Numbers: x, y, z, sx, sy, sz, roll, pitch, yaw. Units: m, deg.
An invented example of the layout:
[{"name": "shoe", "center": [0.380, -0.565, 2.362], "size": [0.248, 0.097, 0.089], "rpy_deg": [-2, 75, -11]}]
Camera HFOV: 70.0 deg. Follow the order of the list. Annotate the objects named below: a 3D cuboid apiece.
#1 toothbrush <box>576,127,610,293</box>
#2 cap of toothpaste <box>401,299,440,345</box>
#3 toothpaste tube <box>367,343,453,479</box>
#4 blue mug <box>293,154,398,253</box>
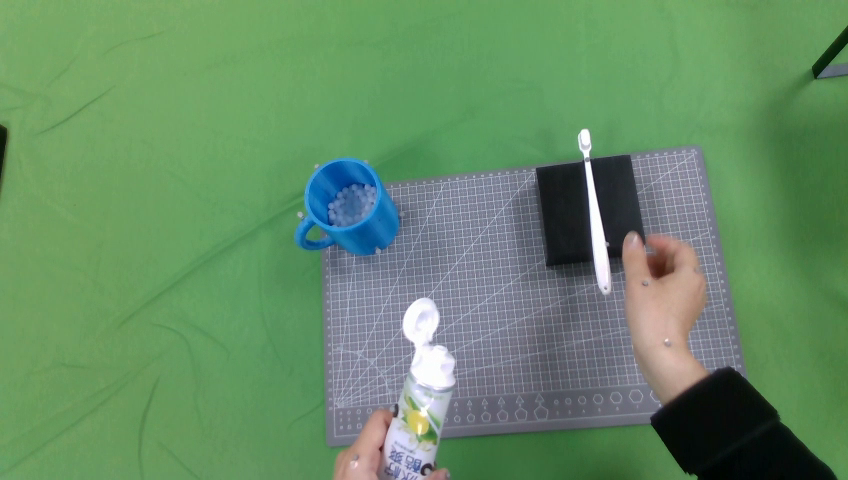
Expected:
[{"name": "toothbrush", "center": [0.178, -0.035, 0.633], "size": [0.014, 0.017, 0.181], "rpy_deg": [-4, 76, 0]}, {"name": "cap of toothpaste", "center": [-0.001, 0.062, 0.451], "size": [0.011, 0.038, 0.037], "rpy_deg": [18, 77, 47]}, {"name": "toothpaste tube", "center": [-0.012, 0.152, 0.460], "size": [0.054, 0.034, 0.165], "rpy_deg": [20, 105, 23]}, {"name": "blue mug", "center": [-0.091, -0.028, 0.672], "size": [0.116, 0.106, 0.082], "rpy_deg": [-33, 74, -1]}]
